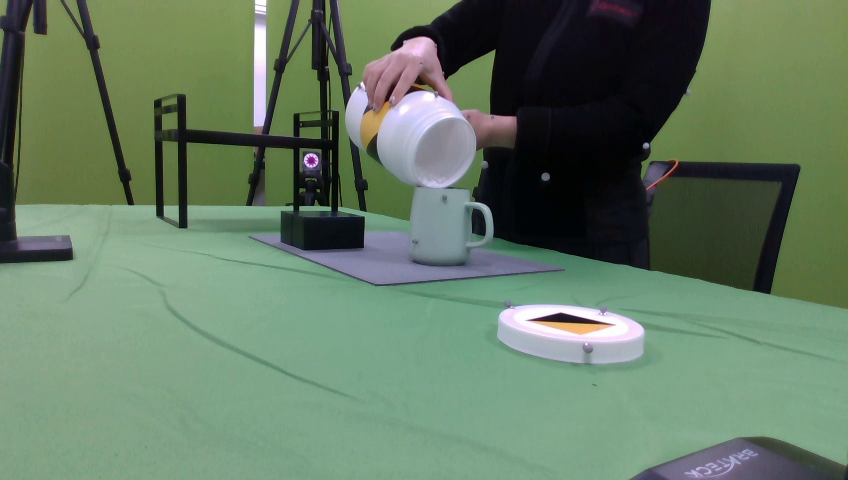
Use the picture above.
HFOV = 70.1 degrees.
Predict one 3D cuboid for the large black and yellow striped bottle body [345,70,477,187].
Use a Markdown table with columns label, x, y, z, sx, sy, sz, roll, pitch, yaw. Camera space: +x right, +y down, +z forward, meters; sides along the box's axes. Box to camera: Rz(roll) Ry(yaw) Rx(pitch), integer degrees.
| label | x | y | z | sx | sy | sz | roll | pitch | yaw |
| --- | --- | --- | --- | --- | --- | --- | --- | --- | --- |
| large black and yellow striped bottle body | -0.019 | -0.161 | 0.882 | 0.131 | 0.130 | 0.183 | -3 | 30 | -37 |

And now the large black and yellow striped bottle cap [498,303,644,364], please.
| label | x | y | z | sx | sy | sz | roll | pitch | yaw |
| --- | --- | --- | --- | --- | --- | --- | --- | --- | --- |
| large black and yellow striped bottle cap | 0.117 | 0.072 | 0.486 | 0.115 | 0.019 | 0.115 | 1 | 8 | 0 |

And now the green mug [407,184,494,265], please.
| label | x | y | z | sx | sy | sz | roll | pitch | yaw |
| --- | --- | --- | --- | --- | --- | --- | --- | --- | --- |
| green mug | 0.038 | -0.021 | 0.827 | 0.125 | 0.105 | 0.093 | 7 | 8 | 30 |
